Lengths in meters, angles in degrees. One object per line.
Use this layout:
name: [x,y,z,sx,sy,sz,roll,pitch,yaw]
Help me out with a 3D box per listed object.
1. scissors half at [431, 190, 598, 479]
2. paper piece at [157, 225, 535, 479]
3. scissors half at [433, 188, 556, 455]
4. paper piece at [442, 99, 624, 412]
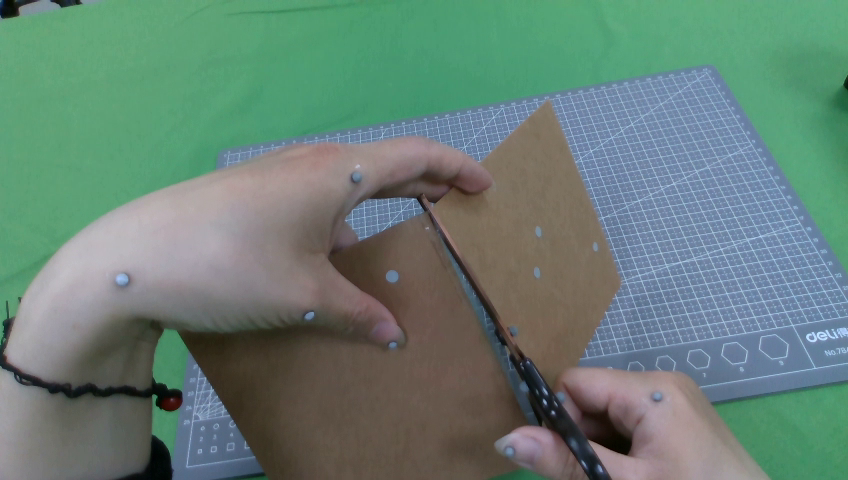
scissors half: [0.045,0.055,0.266,0.013,0.040,0.175,-28,88,-1]
paper piece: [-0.033,0.080,0.300,0.138,0.136,0.008,-28,15,0]
scissors half: [0.044,0.053,0.286,0.013,0.176,0.040,-27,15,5]
paper piece: [0.072,0.008,0.334,0.004,0.136,0.135,-10,25,41]
